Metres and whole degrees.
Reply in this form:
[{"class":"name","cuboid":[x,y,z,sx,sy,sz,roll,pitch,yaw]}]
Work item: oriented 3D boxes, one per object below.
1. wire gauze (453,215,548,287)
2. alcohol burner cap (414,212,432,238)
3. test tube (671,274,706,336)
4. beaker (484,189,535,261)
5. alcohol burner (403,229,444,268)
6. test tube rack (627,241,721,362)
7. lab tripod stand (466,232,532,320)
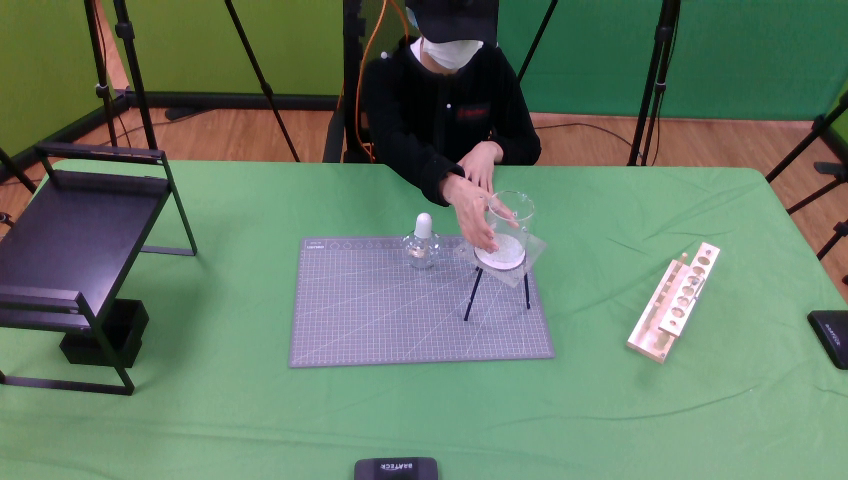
[{"class":"wire gauze","cuboid":[0.129,0.012,1.017,0.124,0.011,0.121,28,49,22]},{"class":"alcohol burner cap","cuboid":[0.000,-0.030,1.107,0.034,0.048,0.033,5,39,-4]},{"class":"test tube","cuboid":[0.429,0.111,1.004,0.017,0.151,0.017,4,43,-4]},{"class":"beaker","cuboid":[0.138,-0.023,0.984,0.073,0.101,0.084,31,50,26]},{"class":"alcohol burner","cuboid":[-0.001,-0.004,1.132,0.078,0.120,0.077,1,47,-1]},{"class":"test tube rack","cuboid":[0.452,0.098,1.086,0.066,0.085,0.242,28,51,22]},{"class":"lab tripod stand","cuboid":[0.125,0.059,1.065,0.148,0.132,0.147,1,45,0]}]
